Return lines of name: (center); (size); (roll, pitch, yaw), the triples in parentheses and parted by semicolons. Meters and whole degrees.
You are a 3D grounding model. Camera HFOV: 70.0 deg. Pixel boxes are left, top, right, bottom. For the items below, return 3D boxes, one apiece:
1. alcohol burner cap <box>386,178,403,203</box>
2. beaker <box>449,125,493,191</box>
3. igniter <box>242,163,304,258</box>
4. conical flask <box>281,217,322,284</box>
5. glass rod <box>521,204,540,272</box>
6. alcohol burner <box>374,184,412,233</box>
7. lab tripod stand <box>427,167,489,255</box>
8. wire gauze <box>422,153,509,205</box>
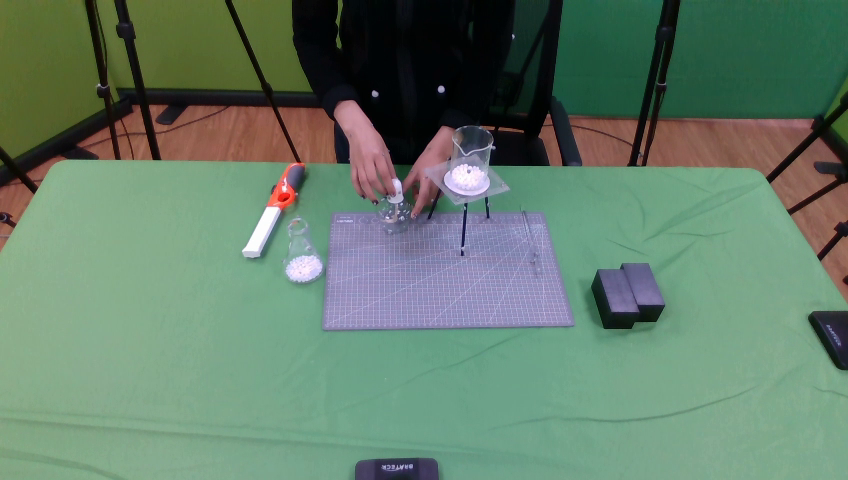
alcohol burner cap: (-0.059, -0.097, 1.169); (0.034, 0.048, 0.033); (-2, 44, 3)
beaker: (0.083, -0.146, 1.108); (0.074, 0.101, 0.083); (15, 47, 11)
igniter: (-0.305, -0.069, 1.239); (0.057, 0.025, 0.275); (2, 45, 12)
conical flask: (-0.225, 0.016, 1.097); (0.075, 0.122, 0.075); (3, 46, -2)
glass rod: (0.215, -0.008, 1.230); (0.008, 0.008, 0.198); (0, 43, -3)
alcohol burner: (-0.060, -0.071, 1.196); (0.078, 0.119, 0.077); (3, 47, -3)
lab tripod stand: (0.076, -0.068, 1.191); (0.148, 0.132, 0.147); (2, 44, -2)
wire gauze: (0.078, -0.115, 1.144); (0.125, 0.011, 0.120); (-21, 49, -20)
